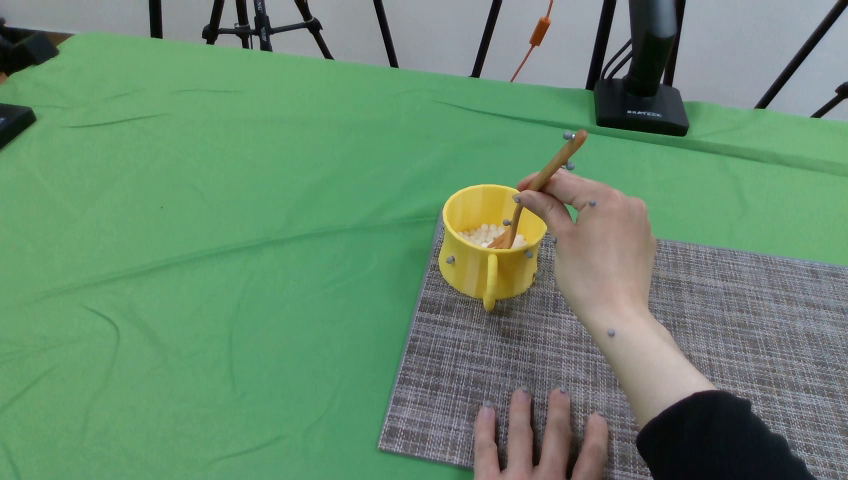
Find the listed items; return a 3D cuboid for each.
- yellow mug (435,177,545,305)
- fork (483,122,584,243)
[{"bbox_3d":[0.061,0.004,0.577,0.100,0.064,0.129,5,44,1],"label":"yellow mug"},{"bbox_3d":[0.083,-0.035,0.507,0.018,0.208,0.028,16,62,-4],"label":"fork"}]
